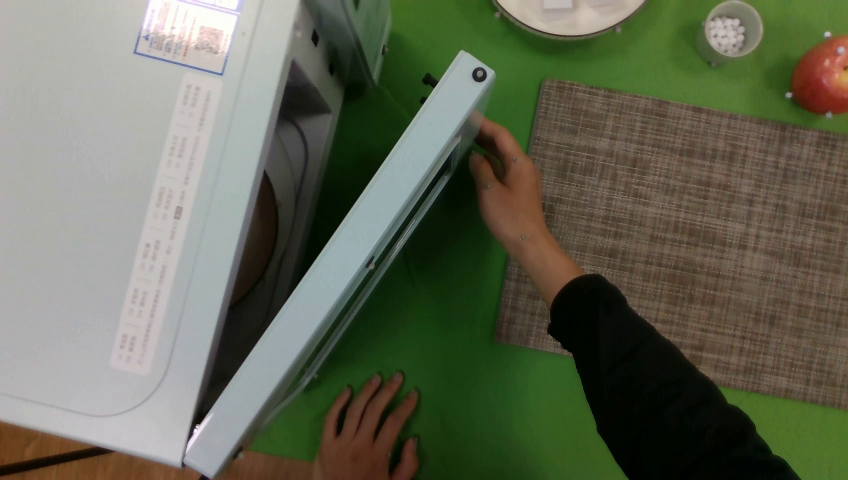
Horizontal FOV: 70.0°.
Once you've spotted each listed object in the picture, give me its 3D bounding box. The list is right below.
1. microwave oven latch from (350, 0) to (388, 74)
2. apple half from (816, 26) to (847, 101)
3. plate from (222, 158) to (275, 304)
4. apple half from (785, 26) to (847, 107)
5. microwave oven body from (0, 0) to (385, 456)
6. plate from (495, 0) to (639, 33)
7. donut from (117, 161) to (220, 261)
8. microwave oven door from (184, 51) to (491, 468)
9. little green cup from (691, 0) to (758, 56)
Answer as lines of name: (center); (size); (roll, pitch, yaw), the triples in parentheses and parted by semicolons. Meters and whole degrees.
microwave oven latch: (-0.060, -0.222, 0.648); (0.030, 0.029, 0.079); (16, 91, 0)
apple half: (0.455, -0.189, 0.642); (0.033, 0.081, 0.081); (-16, 89, 6)
plate: (-0.251, -0.027, 0.604); (0.209, 0.038, 0.209); (0, 91, -1)
apple half: (0.417, -0.179, 0.644); (0.053, 0.074, 0.081); (-15, 93, 5)
microwave oven body: (-0.249, -0.087, 0.554); (0.326, 0.260, 0.441); (14, 91, 0)
plate: (0.155, -0.327, 0.664); (0.208, 0.039, 0.207); (0, 90, 1)
donut: (-0.248, -0.028, 0.591); (0.099, 0.048, 0.099); (0, 85, 2)
microwave oven door: (-0.061, 0.016, 0.547); (0.039, 0.244, 0.355); (35, 90, 2)
little green cup: (0.325, -0.232, 0.662); (0.061, 0.038, 0.061); (0, 90, 1)
